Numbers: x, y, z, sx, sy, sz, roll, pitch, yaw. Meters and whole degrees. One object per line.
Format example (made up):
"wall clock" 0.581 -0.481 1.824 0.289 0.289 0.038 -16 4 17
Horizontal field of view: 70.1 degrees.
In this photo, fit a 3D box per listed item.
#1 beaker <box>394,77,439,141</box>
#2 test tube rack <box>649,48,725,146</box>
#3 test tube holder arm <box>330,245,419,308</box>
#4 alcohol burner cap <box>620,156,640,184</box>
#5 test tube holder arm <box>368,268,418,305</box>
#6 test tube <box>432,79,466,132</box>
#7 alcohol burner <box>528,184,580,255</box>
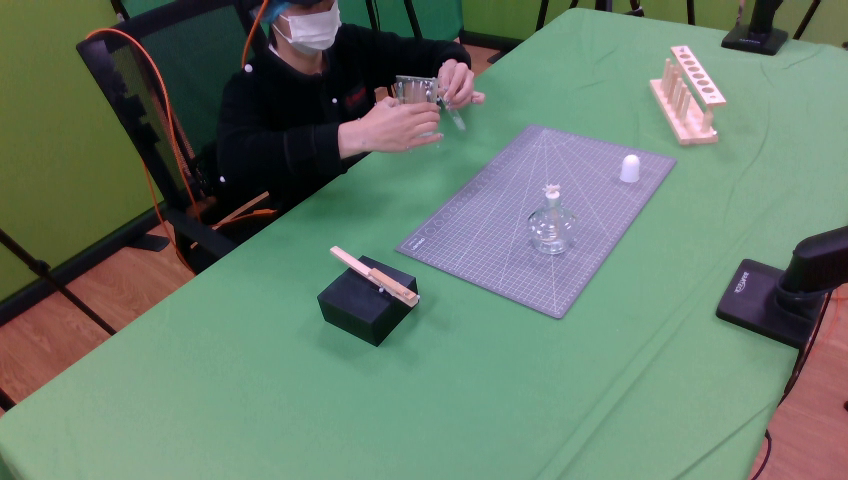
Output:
"beaker" -0.012 -0.222 1.026 0.073 0.100 0.084 17 21 36
"test tube rack" 0.508 -0.285 1.186 0.067 0.085 0.241 -4 40 6
"test tube holder arm" -0.074 0.049 0.857 0.015 0.013 0.177 -37 48 -29
"alcohol burner cap" 0.358 -0.124 1.047 0.034 0.048 0.033 -4 40 4
"test tube holder arm" -0.043 0.063 0.827 0.015 0.010 0.087 -36 47 -29
"test tube" 0.048 -0.243 1.110 0.017 0.151 0.017 -9 63 19
"alcohol burner" 0.196 -0.036 0.911 0.078 0.119 0.077 -6 41 5
